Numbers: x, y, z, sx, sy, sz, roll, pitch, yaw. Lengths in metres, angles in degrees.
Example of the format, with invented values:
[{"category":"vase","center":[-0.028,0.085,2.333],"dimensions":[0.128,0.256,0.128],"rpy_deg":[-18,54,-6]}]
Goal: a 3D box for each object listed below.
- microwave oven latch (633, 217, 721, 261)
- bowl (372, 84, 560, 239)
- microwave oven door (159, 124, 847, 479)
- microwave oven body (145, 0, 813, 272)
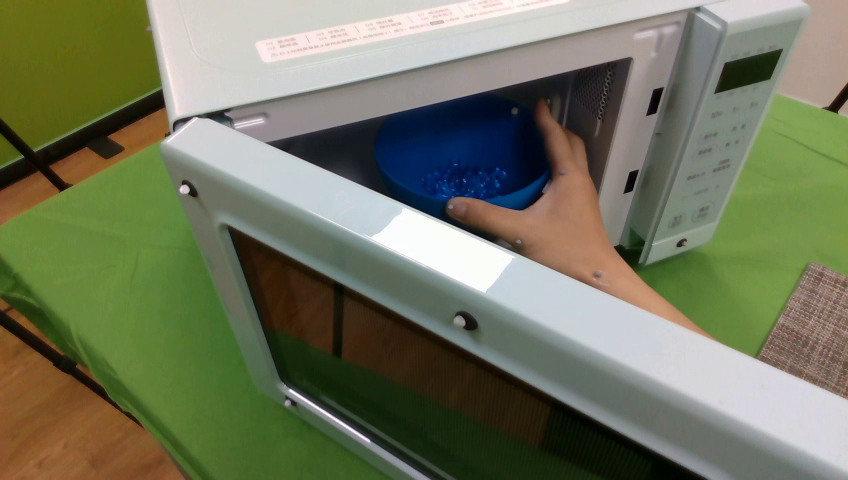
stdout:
[{"category":"microwave oven latch","center":[0.241,-0.007,0.577],"dimensions":[0.079,0.030,0.030],"rpy_deg":[-16,47,-14]},{"category":"bowl","center":[0.035,-0.053,0.512],"dimensions":[0.151,0.077,0.150],"rpy_deg":[-1,53,2]},{"category":"microwave oven door","center":[0.017,0.092,0.337],"dimensions":[0.353,0.246,0.039],"rpy_deg":[24,50,23]},{"category":"microwave oven body","center":[0.018,-0.121,0.558],"dimensions":[0.442,0.262,0.322],"rpy_deg":[-17,48,-15]}]
